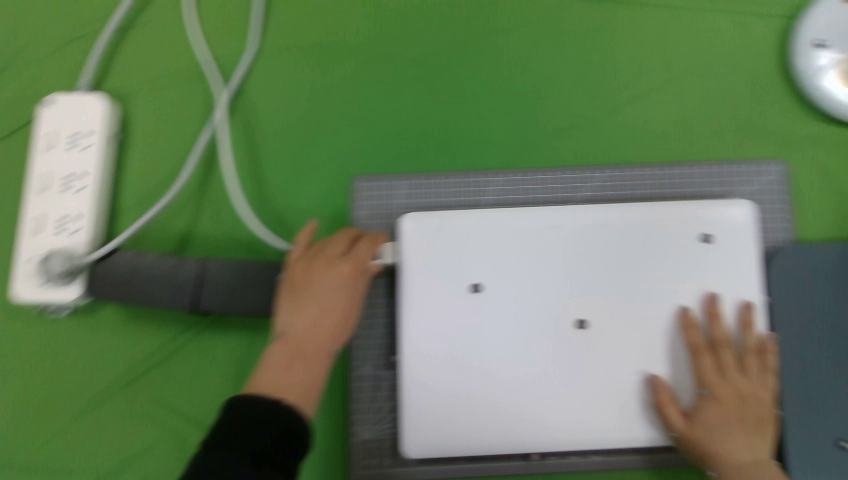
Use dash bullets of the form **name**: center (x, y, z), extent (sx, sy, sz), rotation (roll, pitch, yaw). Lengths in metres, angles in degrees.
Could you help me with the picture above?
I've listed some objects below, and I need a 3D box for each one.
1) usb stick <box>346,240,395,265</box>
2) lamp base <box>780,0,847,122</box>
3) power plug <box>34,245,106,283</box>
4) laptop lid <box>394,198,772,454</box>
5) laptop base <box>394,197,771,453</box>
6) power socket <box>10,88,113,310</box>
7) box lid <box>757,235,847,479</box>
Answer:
- **usb stick**: center (-0.045, 0.012, 0.592), extent (0.059, 0.027, 0.021), rotation (-2, 82, -3)
- **lamp base**: center (0.461, -0.224, 0.564), extent (0.160, 0.181, 0.179), rotation (31, 79, 5)
- **power plug**: center (-0.331, 0.027, 0.573), extent (0.072, 0.053, 0.035), rotation (13, 79, 1)
- **laptop lid**: center (0.150, 0.080, 0.582), extent (0.357, 0.013, 0.241), rotation (-1, 84, 0)
- **laptop base**: center (0.150, 0.079, 0.592), extent (0.354, 0.023, 0.235), rotation (-2, 85, -1)
- **power socket**: center (-0.360, -0.044, 0.605), extent (0.072, 0.033, 0.226), rotation (1, 80, -1)
- **box lid**: center (0.468, 0.174, 0.580), extent (0.263, 0.015, 0.370), rotation (-3, 80, -2)
